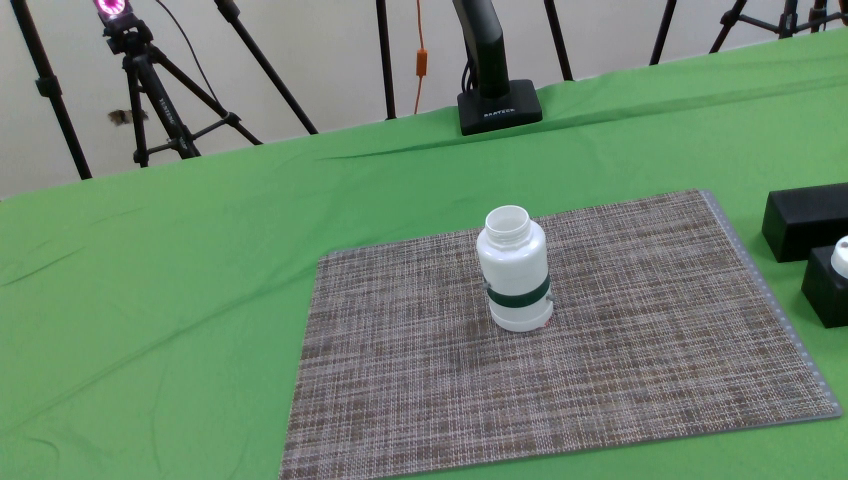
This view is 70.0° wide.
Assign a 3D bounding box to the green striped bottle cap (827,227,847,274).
[{"bbox_3d":[0.360,0.009,0.499,0.044,0.020,0.044,-7,41,7],"label":"green striped bottle cap"}]

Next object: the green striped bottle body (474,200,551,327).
[{"bbox_3d":[0.083,0.020,0.567,0.063,0.120,0.062,-9,41,8],"label":"green striped bottle body"}]
